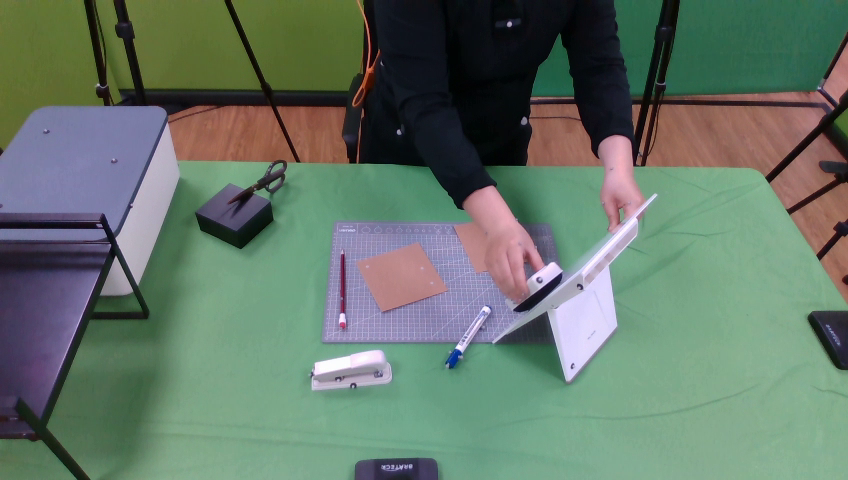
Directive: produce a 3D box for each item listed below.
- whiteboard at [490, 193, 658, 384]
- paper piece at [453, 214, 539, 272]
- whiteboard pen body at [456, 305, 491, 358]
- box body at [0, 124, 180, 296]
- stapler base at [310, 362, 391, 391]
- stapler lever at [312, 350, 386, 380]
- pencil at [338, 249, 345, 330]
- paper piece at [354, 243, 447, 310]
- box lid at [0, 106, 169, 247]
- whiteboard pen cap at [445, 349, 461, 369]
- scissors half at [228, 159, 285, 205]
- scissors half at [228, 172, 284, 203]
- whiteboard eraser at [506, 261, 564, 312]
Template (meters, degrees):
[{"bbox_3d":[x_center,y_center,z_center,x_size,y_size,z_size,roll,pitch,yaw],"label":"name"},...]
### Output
[{"bbox_3d":[0.278,0.101,0.969,0.217,0.306,0.143,-36,79,-33],"label":"whiteboard"},{"bbox_3d":[0.142,0.003,1.212,0.135,0.004,0.135,-10,48,-15],"label":"paper piece"},{"bbox_3d":[0.080,0.164,1.047,0.017,0.017,0.140,25,51,19],"label":"whiteboard pen body"},{"bbox_3d":[-0.628,-0.075,1.122,0.254,0.161,0.361,1,46,-4],"label":"box body"},{"bbox_3d":[-0.119,0.215,0.980,0.131,0.024,0.041,-5,44,-7],"label":"stapler base"},{"bbox_3d":[-0.120,0.199,0.963,0.118,0.040,0.026,-4,44,-8],"label":"stapler lever"},{"bbox_3d":[-0.152,0.085,1.107,0.012,0.012,0.192,-2,44,-7],"label":"pencil"},{"bbox_3d":[-0.045,0.066,1.136,0.136,0.009,0.137,-13,46,-22],"label":"paper piece"},{"bbox_3d":[-0.624,-0.125,1.067,0.263,0.015,0.369,0,46,-3],"label":"box lid"},{"bbox_3d":[0.049,0.197,1.011,0.018,0.018,0.033,23,50,17],"label":"whiteboard pen cap"},{"bbox_3d":[-0.335,-0.116,1.217,0.013,0.040,0.175,26,46,12],"label":"scissors half"},{"bbox_3d":[-0.339,-0.101,1.229,0.013,0.040,0.175,22,28,16],"label":"scissors half"},{"bbox_3d":[0.175,0.077,0.949,0.055,0.113,0.041,-30,77,-26],"label":"whiteboard eraser"}]
